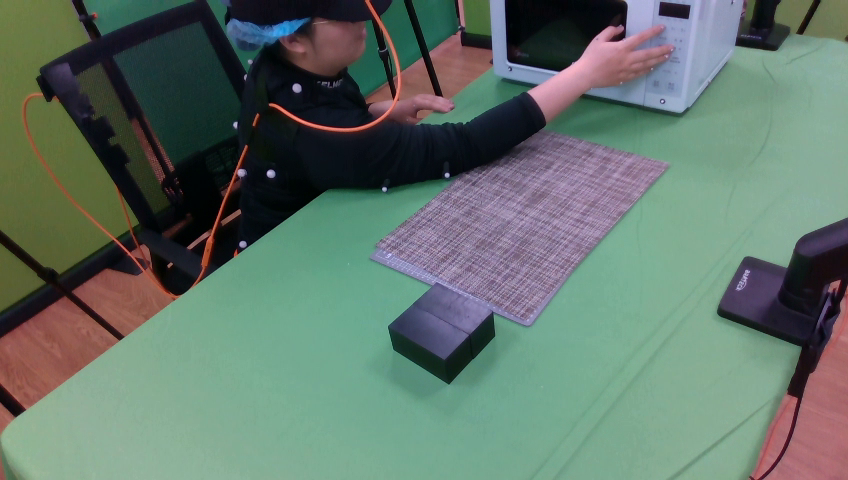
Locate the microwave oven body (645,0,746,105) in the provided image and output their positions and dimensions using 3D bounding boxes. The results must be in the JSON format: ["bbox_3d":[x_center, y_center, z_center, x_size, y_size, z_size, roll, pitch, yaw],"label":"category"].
[{"bbox_3d":[0.417,-0.486,1.290,0.438,0.261,0.327,21,50,33],"label":"microwave oven body"}]

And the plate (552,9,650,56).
[{"bbox_3d":[0.390,-0.456,1.339,0.209,0.038,0.208,-6,39,5],"label":"plate"}]

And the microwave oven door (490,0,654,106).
[{"bbox_3d":[0.293,-0.420,1.228,0.353,0.245,0.039,22,49,32],"label":"microwave oven door"}]

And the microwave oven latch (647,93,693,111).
[{"bbox_3d":[0.478,-0.273,1.177,0.078,0.029,0.030,23,51,34],"label":"microwave oven latch"}]

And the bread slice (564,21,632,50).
[{"bbox_3d":[0.394,-0.454,1.344,0.105,0.019,0.130,-35,43,-26],"label":"bread slice"}]
